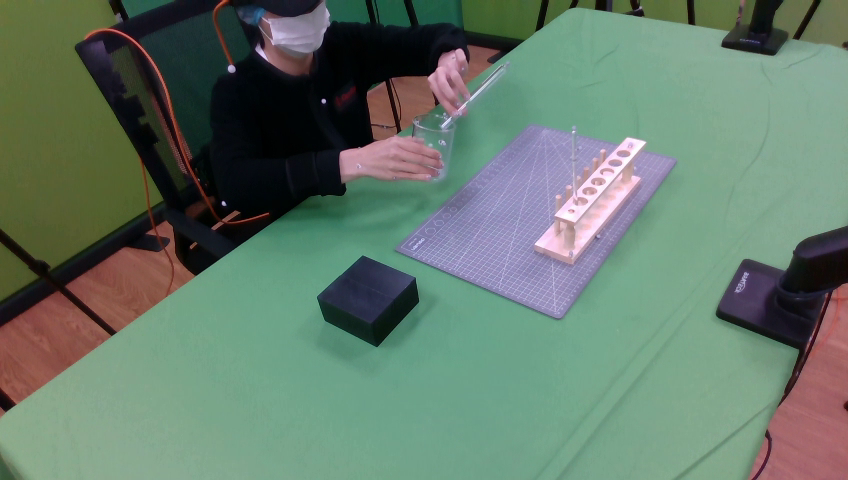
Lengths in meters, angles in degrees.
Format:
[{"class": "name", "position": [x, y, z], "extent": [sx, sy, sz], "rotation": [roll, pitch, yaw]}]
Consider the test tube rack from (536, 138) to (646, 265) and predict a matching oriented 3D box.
[{"class": "test tube rack", "position": [0.268, -0.071, 0.964], "extent": [0.066, 0.085, 0.243], "rotation": [23, 49, 32]}]

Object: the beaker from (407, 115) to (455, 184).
[{"class": "beaker", "position": [0.012, -0.153, 1.026], "extent": [0.073, 0.100, 0.084], "rotation": [32, 39, 32]}]

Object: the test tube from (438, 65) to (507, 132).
[{"class": "test tube", "position": [0.081, -0.236, 1.008], "extent": [0.150, 0.017, 0.017], "rotation": [-43, 44, 2]}]

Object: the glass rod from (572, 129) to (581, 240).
[{"class": "glass rod", "position": [0.220, -0.074, 0.871], "extent": [0.008, 0.201, 0.008], "rotation": [-8, 42, 8]}]
